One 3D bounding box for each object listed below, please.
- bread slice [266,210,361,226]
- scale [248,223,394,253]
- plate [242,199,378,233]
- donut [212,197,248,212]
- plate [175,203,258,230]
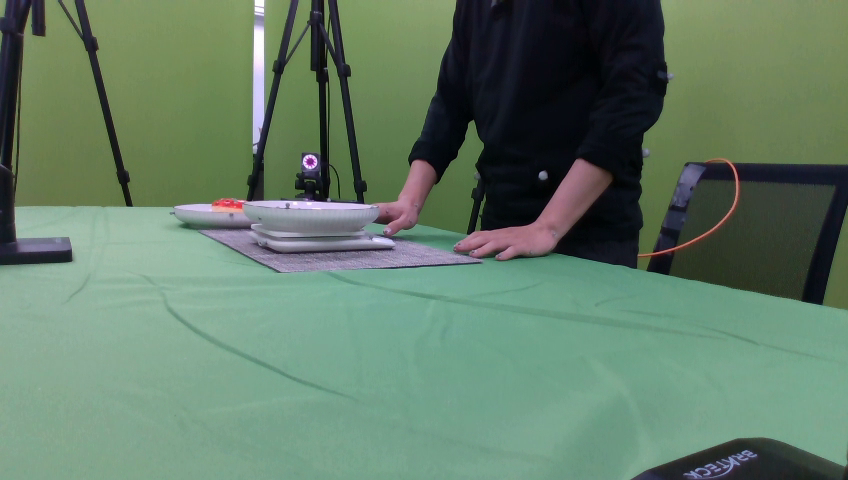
[{"bbox_3d":[-0.174,-0.035,0.934,0.132,0.019,0.104,-1,7,-28],"label":"bread slice"},{"bbox_3d":[-0.162,-0.006,0.954,0.202,0.031,0.148,-2,9,-32],"label":"scale"},{"bbox_3d":[-0.176,-0.038,0.939,0.209,0.038,0.209,3,7,0],"label":"plate"},{"bbox_3d":[-0.376,-0.061,1.220,0.099,0.048,0.099,5,4,0],"label":"donut"},{"bbox_3d":[-0.380,-0.047,1.199,0.208,0.039,0.207,2,7,0],"label":"plate"}]
